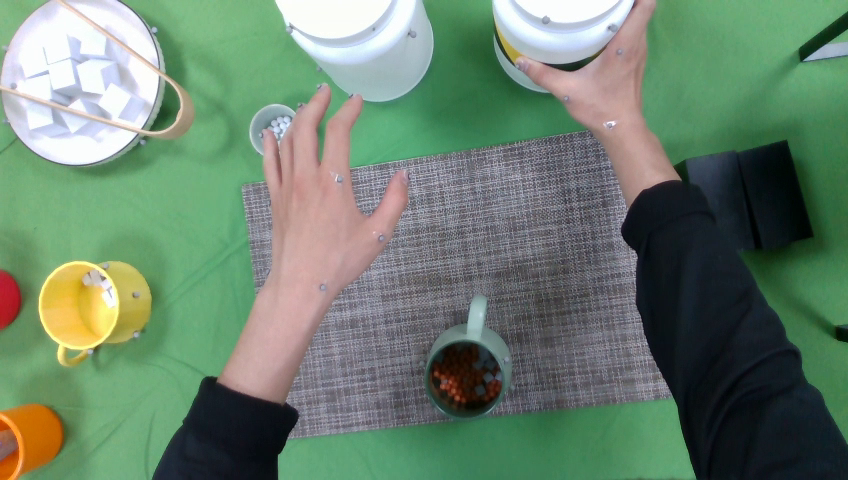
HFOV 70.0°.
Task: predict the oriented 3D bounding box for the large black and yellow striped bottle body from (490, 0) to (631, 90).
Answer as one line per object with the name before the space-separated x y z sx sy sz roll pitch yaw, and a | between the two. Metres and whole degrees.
large black and yellow striped bottle body | 0.130 -0.233 0.592 0.130 0.184 0.130 0 88 8

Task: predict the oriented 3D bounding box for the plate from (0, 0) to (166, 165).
plate | -0.404 -0.192 0.730 0.207 0.039 0.207 0 89 7

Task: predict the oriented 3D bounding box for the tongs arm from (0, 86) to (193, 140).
tongs arm | -0.448 -0.181 0.702 0.384 0.026 0.050 21 88 9

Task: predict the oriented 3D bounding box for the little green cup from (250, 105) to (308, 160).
little green cup | -0.165 -0.121 0.699 0.061 0.038 0.061 0 90 6

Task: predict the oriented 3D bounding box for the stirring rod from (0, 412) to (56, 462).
stirring rod | -0.501 0.260 0.682 0.014 0.006 0.176 43 52 5

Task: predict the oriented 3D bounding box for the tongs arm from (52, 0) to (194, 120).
tongs arm | -0.412 -0.256 0.701 0.386 0.028 0.028 35 87 8

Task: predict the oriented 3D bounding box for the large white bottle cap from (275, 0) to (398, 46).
large white bottle cap | -0.077 -0.230 0.532 0.114 0.018 0.114 0 89 7

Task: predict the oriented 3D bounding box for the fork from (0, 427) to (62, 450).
fork | -0.527 0.226 0.680 0.209 0.018 0.028 11 86 -36

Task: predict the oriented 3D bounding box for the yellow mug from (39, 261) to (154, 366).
yellow mug | -0.387 0.089 0.708 0.100 0.064 0.131 25 93 6

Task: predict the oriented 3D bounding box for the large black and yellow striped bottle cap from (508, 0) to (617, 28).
large black and yellow striped bottle cap | 0.118 -0.238 0.509 0.115 0.019 0.115 0 89 5

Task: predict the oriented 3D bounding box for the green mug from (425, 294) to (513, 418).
green mug | 0.049 0.118 0.632 0.092 0.105 0.125 9 89 8

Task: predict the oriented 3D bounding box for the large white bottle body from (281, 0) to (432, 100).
large white bottle body | -0.066 -0.228 0.615 0.130 0.185 0.130 0 88 8

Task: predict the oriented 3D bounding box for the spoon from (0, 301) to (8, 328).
spoon | -0.545 0.033 0.688 0.041 0.021 0.196 -12 132 6
